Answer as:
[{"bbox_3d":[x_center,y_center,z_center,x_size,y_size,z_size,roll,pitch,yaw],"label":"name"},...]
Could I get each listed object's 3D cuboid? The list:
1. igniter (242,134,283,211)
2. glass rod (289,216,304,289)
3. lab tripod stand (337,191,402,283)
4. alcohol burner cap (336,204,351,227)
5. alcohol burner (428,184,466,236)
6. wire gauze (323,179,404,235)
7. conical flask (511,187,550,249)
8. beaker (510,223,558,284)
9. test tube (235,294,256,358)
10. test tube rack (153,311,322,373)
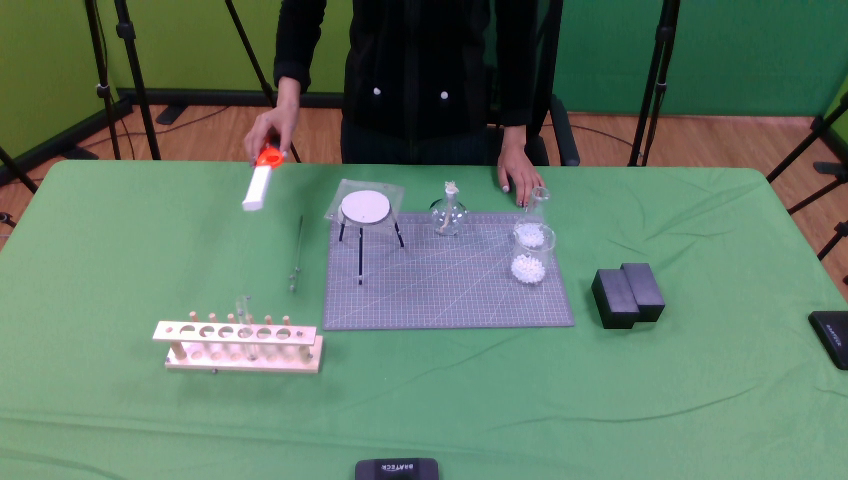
[{"bbox_3d":[-0.301,-0.134,1.140,0.057,0.025,0.275,-4,35,-1],"label":"igniter"},{"bbox_3d":[-0.246,0.020,1.171,0.008,0.008,0.198,1,43,-3],"label":"glass rod"},{"bbox_3d":[-0.106,-0.016,1.125,0.148,0.132,0.147,3,44,-2],"label":"lab tripod stand"},{"bbox_3d":[-0.162,-0.053,1.220,0.034,0.048,0.033,2,46,-2],"label":"alcohol burner cap"},{"bbox_3d":[0.047,-0.066,1.200,0.078,0.119,0.077,4,45,-3],"label":"alcohol burner"},{"bbox_3d":[-0.106,-0.064,1.078,0.125,0.011,0.121,11,45,5],"label":"wire gauze"},{"bbox_3d":[0.217,-0.048,1.190,0.075,0.122,0.075,2,46,-2],"label":"conical flask"},{"bbox_3d":[0.199,0.027,1.132,0.083,0.101,0.074,27,50,21],"label":"beaker"},{"bbox_3d":[-0.274,0.136,0.933,0.017,0.151,0.017,4,45,-4],"label":"test tube"},{"bbox_3d":[-0.293,0.160,0.978,0.242,0.085,0.066,3,46,-2],"label":"test tube rack"}]
